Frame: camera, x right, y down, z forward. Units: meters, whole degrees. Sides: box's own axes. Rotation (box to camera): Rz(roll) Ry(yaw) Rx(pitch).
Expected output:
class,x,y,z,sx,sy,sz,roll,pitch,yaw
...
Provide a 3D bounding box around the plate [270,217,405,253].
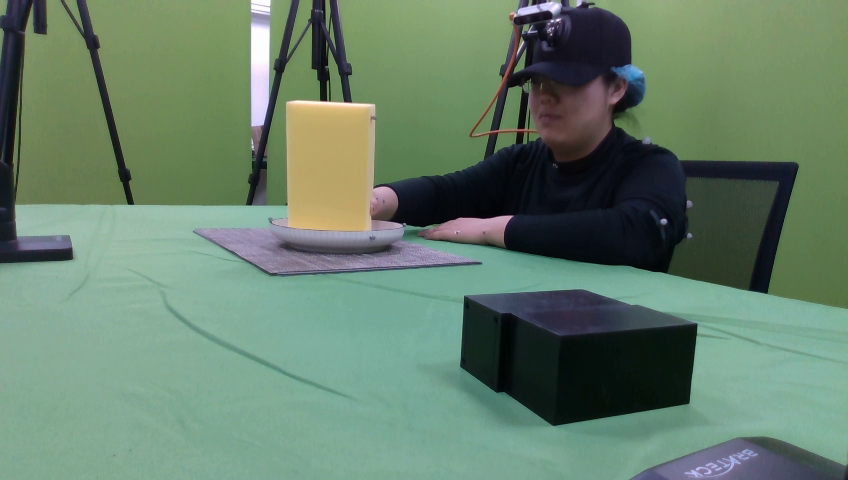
class,x,y,z,sx,sy,sz,roll,pitch,yaw
plate,-0.134,-0.009,0.946,0.208,0.039,0.207,3,7,0

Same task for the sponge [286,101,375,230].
class,x,y,z,sx,sy,sz,roll,pitch,yaw
sponge,-0.137,-0.097,0.891,0.118,0.206,0.061,4,16,2
